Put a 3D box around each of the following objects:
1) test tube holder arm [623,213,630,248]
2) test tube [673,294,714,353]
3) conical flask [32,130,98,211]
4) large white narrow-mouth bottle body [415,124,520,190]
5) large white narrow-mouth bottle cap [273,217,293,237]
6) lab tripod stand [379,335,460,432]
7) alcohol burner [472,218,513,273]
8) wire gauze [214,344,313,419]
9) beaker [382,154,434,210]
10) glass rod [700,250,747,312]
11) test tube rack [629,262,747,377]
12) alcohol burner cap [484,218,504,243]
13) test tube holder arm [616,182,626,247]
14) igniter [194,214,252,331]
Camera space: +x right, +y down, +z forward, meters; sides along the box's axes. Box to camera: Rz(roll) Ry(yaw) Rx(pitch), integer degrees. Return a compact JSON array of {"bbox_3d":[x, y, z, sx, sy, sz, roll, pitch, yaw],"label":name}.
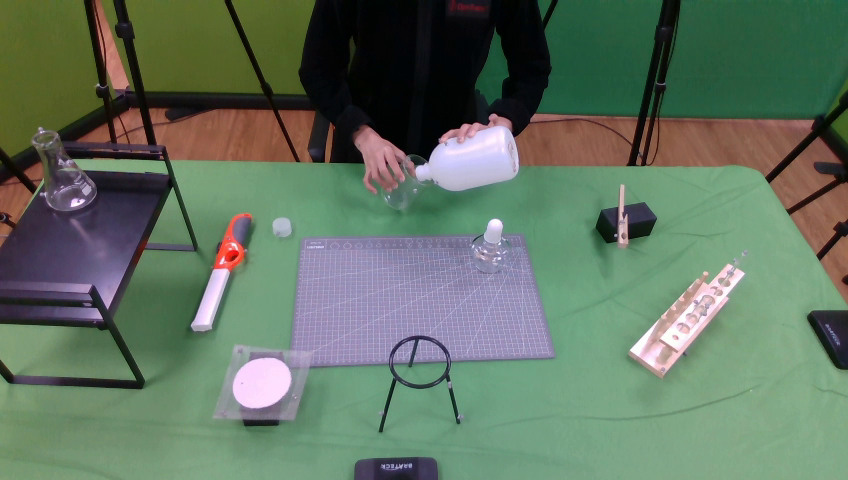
[{"bbox_3d":[0.392,-0.020,1.180,0.010,0.015,0.087,17,48,-4],"label":"test tube holder arm"},{"bbox_3d":[0.428,0.137,0.978,0.017,0.151,0.017,4,47,-4],"label":"test tube"},{"bbox_3d":[-0.565,-0.110,0.944,0.075,0.122,0.075,2,46,-2],"label":"conical flask"},{"bbox_3d":[0.075,-0.148,1.142,0.194,0.102,0.101,-11,41,24],"label":"large white narrow-mouth bottle body"},{"bbox_3d":[-0.281,-0.026,1.203,0.038,0.024,0.037,2,46,-2],"label":"large white narrow-mouth bottle cap"},{"bbox_3d":[-0.010,0.214,0.911,0.148,0.132,0.147,1,45,0],"label":"lab tripod stand"},{"bbox_3d":[0.128,0.005,1.132,0.078,0.120,0.077,0,47,0],"label":"alcohol burner"},{"bbox_3d":[-0.241,0.213,0.916,0.121,0.011,0.124,5,46,1],"label":"wire gauze"},{"bbox_3d":[-0.032,-0.113,1.210,0.084,0.100,0.073,-3,62,-39],"label":"beaker"},{"bbox_3d":[0.500,0.075,1.021,0.008,0.201,0.008,0,54,1],"label":"glass rod"},{"bbox_3d":[0.464,0.126,1.060,0.242,0.085,0.066,-34,56,-31],"label":"test tube rack"},{"bbox_3d":[0.130,-0.021,1.106,0.034,0.048,0.033,3,51,-4],"label":"alcohol burner cap"},{"bbox_3d":[0.393,-0.054,1.210,0.013,0.015,0.177,16,48,-5],"label":"test tube holder arm"},{"bbox_3d":[-0.367,0.050,1.119,0.057,0.025,0.275,-4,45,7],"label":"igniter"}]
